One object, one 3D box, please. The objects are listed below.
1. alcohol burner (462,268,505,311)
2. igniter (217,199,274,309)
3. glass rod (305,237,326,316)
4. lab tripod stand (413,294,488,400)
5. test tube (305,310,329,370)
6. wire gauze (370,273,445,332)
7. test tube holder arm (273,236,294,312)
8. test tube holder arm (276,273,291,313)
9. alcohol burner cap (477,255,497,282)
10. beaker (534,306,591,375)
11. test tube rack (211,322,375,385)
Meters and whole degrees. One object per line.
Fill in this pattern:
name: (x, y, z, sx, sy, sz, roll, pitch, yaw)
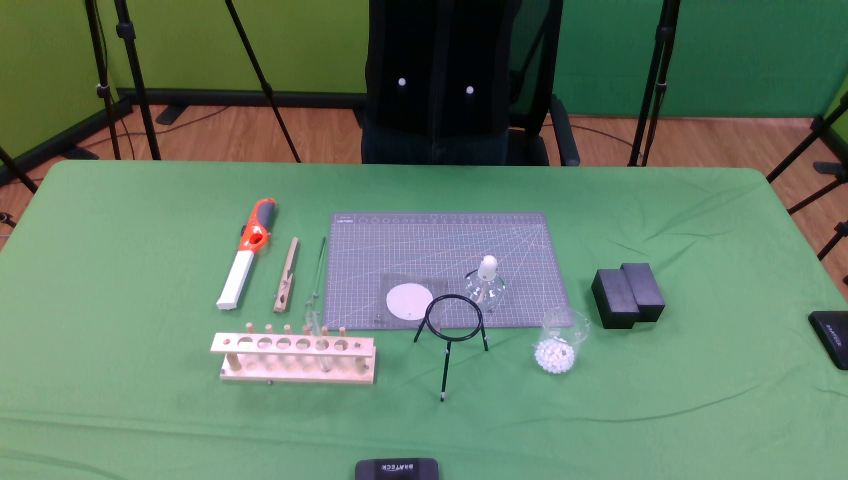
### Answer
alcohol burner: (0.108, 0.071, 1.072, 0.078, 0.119, 0.077, 4, 45, -4)
igniter: (-0.336, 0.017, 1.153, 0.057, 0.025, 0.275, -2, 45, 8)
glass rod: (-0.202, 0.063, 1.131, 0.008, 0.008, 0.198, 4, 44, 0)
lab tripod stand: (0.044, 0.159, 0.972, 0.148, 0.132, 0.147, 2, 44, -2)
test tube: (-0.162, 0.156, 0.924, 0.017, 0.151, 0.017, -1, 48, 1)
wire gauze: (-0.028, 0.108, 1.100, 0.125, 0.011, 0.121, 7, 45, 4)
test tube holder arm: (-0.259, 0.059, 1.123, 0.013, 0.015, 0.177, 28, 39, -27)
test tube holder arm: (-0.254, 0.093, 1.094, 0.010, 0.015, 0.087, 29, 38, -26)
alcohol burner cap: (0.110, 0.047, 1.046, 0.034, 0.048, 0.033, 2, 52, -2)
beaker: (0.226, 0.168, 1.002, 0.084, 0.101, 0.073, -5, 47, -10)
test tube rack: (-0.202, 0.176, 0.969, 0.242, 0.085, 0.066, 3, 46, -2)
